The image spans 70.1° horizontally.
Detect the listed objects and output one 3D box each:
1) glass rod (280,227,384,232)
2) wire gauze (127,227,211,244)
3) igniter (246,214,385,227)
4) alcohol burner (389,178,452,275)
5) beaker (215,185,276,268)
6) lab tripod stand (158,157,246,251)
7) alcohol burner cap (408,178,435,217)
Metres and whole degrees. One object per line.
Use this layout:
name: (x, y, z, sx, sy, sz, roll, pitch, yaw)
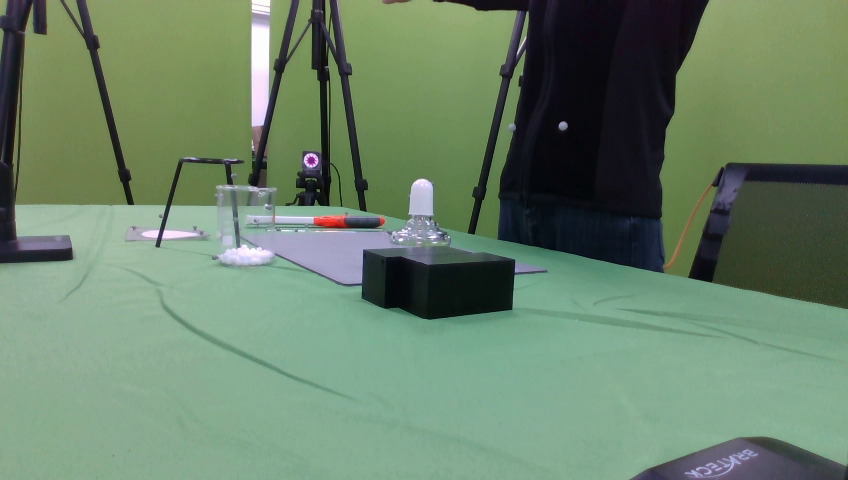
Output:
glass rod: (-0.175, -0.021, 1.162, 0.200, 0.008, 0.008, 1, 7, -16)
wire gauze: (-0.420, -0.010, 0.999, 0.122, 0.011, 0.124, -2, 10, -24)
igniter: (-0.214, -0.040, 1.216, 0.278, 0.025, 0.057, 0, -2, -23)
alcohol burner: (-0.004, -0.017, 0.749, 0.078, 0.119, 0.078, 1, 9, 0)
beaker: (-0.226, -0.019, 0.773, 0.074, 0.100, 0.084, 5, 7, 14)
lab tripod stand: (-0.314, -0.055, 0.891, 0.148, 0.131, 0.148, 2, 9, 0)
alcohol burner cap: (-0.002, -0.053, 0.746, 0.034, 0.048, 0.034, 2, 3, 0)
